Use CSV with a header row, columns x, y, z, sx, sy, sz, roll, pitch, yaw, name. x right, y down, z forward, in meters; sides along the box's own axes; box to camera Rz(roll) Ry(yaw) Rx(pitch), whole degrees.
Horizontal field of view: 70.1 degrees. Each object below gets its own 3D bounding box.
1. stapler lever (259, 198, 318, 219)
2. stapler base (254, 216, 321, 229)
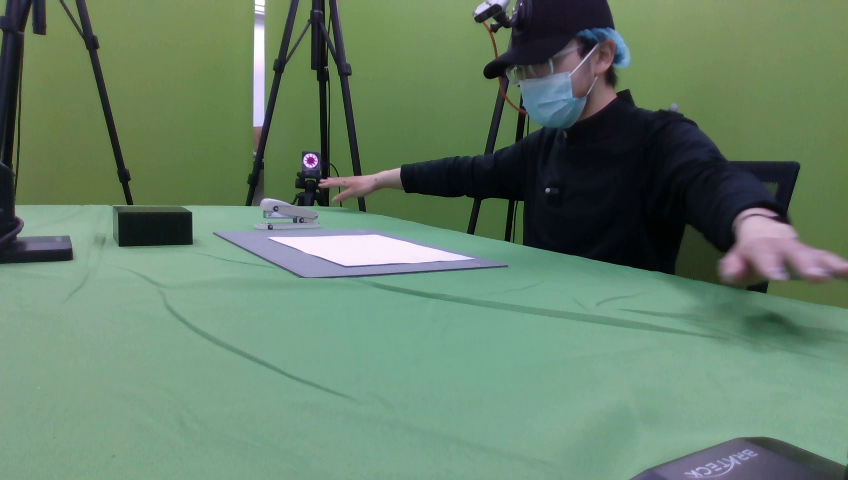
x,y,z,sx,sy,sz,roll,pitch,yaw,name
-0.267,-0.061,1.195,0.119,0.040,0.026,-1,11,-40,stapler lever
-0.269,-0.036,1.197,0.131,0.024,0.041,-1,11,-40,stapler base
